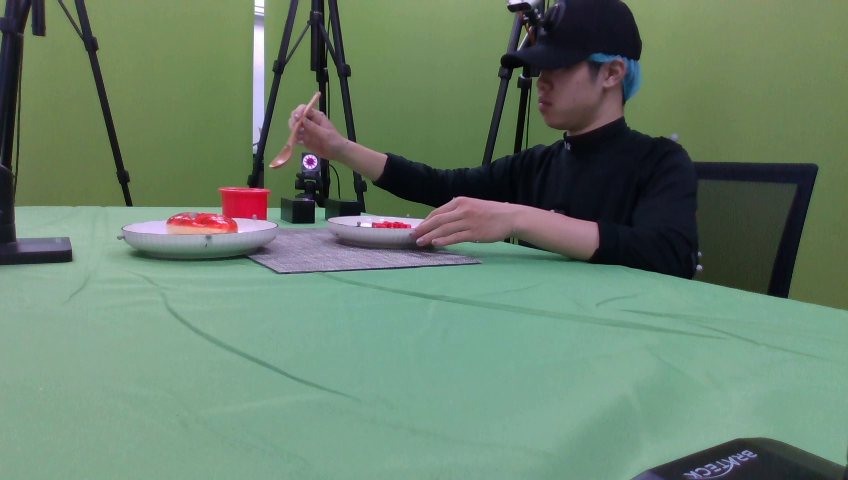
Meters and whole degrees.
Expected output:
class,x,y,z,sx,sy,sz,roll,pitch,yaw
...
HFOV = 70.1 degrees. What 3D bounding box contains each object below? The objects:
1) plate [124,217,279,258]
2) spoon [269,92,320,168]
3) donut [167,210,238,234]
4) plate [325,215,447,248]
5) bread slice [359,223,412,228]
class,x,y,z,sx,sy,sz,roll,pitch,yaw
plate,-0.315,-0.004,0.871,0.208,0.039,0.207,1,8,0
spoon,-0.247,-0.216,1.175,0.041,0.193,0.022,4,-26,42
donut,-0.321,-0.017,0.882,0.099,0.048,0.099,3,6,0
plate,-0.065,-0.015,1.035,0.209,0.038,0.209,3,8,0
bread slice,-0.062,-0.013,1.034,0.105,0.019,0.131,1,9,-19
